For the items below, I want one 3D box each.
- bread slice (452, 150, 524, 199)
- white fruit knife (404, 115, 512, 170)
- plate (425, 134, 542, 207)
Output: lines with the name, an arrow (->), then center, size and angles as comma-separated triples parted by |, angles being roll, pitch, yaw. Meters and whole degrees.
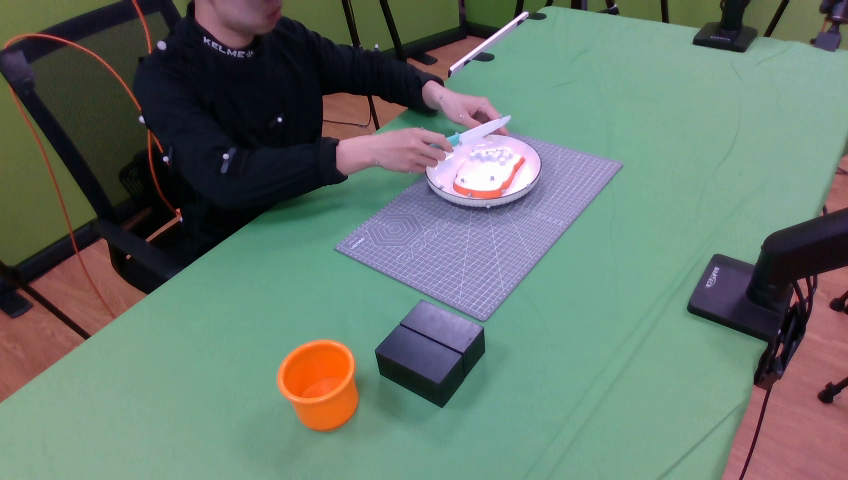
bread slice -> 0.112, -0.118, 1.079 | 0.104, 0.019, 0.131 | 11, 42, 21
white fruit knife -> 0.057, -0.173, 1.052 | 0.207, 0.027, 0.016 | -23, 31, 1
plate -> 0.106, -0.121, 1.079 | 0.209, 0.038, 0.208 | -4, 40, 4
